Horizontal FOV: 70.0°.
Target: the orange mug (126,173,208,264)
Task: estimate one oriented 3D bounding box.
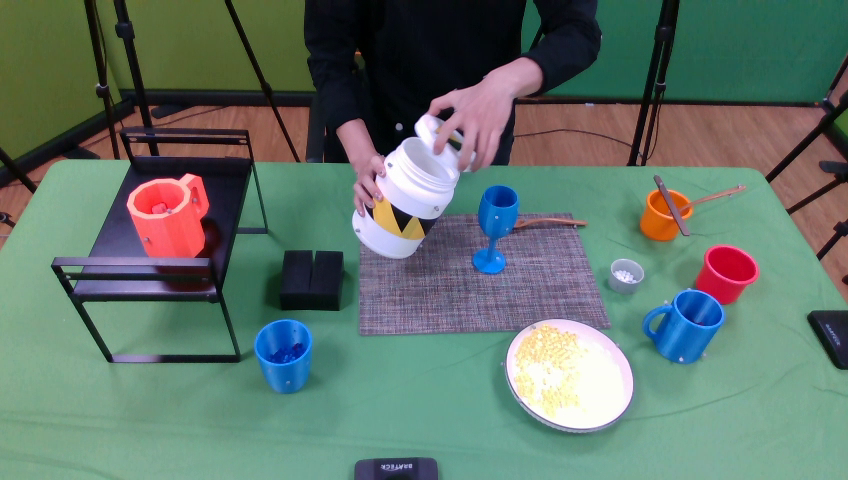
[{"bbox_3d":[-0.371,-0.040,0.902,0.083,0.101,0.126,18,52,13],"label":"orange mug"}]

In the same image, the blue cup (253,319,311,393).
[{"bbox_3d":[-0.217,0.187,0.943,0.093,0.101,0.092,4,45,-3],"label":"blue cup"}]

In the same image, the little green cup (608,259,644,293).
[{"bbox_3d":[0.379,0.070,1.147,0.061,0.039,0.061,3,45,-3],"label":"little green cup"}]

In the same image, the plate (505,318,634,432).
[{"bbox_3d":[0.235,0.221,0.991,0.209,0.038,0.208,2,45,-2],"label":"plate"}]

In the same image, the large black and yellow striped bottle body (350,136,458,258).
[{"bbox_3d":[-0.033,-0.073,1.033,0.131,0.184,0.130,23,36,-18],"label":"large black and yellow striped bottle body"}]

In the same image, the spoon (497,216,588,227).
[{"bbox_3d":[0.245,-0.039,1.247,0.194,0.022,0.041,-1,25,-6],"label":"spoon"}]

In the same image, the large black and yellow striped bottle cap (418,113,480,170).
[{"bbox_3d":[0.040,-0.156,0.957,0.115,0.019,0.114,35,25,-18],"label":"large black and yellow striped bottle cap"}]

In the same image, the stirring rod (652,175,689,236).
[{"bbox_3d":[0.491,-0.072,1.211,0.014,0.006,0.175,-1,46,-6],"label":"stirring rod"}]

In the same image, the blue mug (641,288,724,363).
[{"bbox_3d":[0.432,0.144,1.033,0.116,0.106,0.082,9,46,5],"label":"blue mug"}]

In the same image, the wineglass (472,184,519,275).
[{"bbox_3d":[0.129,-0.018,1.113,0.074,0.173,0.073,2,46,-2],"label":"wineglass"}]

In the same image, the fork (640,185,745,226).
[{"bbox_3d":[0.534,-0.069,1.215,0.207,0.019,0.028,-26,28,33],"label":"fork"}]
